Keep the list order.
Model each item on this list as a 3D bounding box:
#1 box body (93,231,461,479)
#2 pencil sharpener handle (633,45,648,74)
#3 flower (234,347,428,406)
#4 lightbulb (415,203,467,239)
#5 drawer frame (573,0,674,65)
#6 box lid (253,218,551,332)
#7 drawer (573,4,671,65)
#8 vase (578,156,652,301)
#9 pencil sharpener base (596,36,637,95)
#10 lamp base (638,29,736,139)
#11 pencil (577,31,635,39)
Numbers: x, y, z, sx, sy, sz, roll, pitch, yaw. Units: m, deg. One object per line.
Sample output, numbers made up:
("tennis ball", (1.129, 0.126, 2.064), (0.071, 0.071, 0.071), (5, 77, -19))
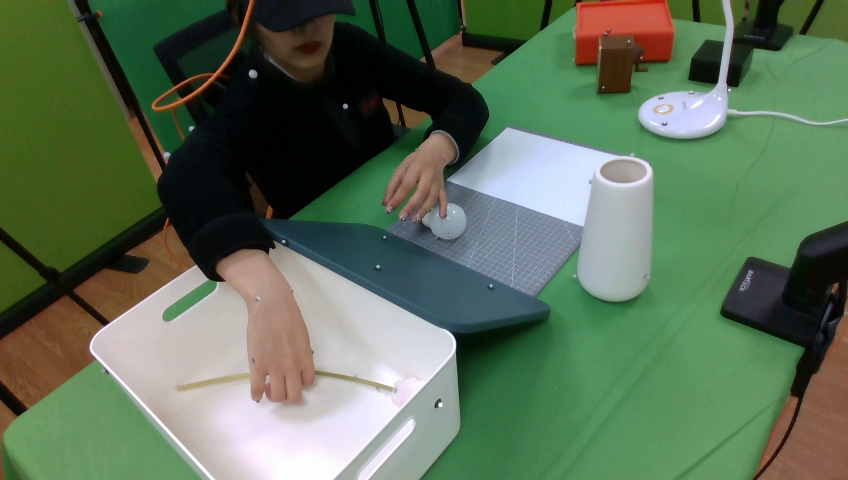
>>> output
("box body", (-0.162, 0.170, 0.708), (0.361, 0.161, 0.255), (25, 50, 34))
("pencil sharpener handle", (0.454, -0.378, 1.262), (0.030, 0.068, 0.036), (1, 47, 13))
("flower", (-0.144, 0.171, 0.801), (0.359, 0.044, 0.038), (7, 32, 24))
("lightbulb", (0.024, -0.034, 0.998), (0.060, 0.060, 0.107), (-38, 33, -30))
("drawer frame", (0.464, -0.492, 1.434), (0.213, 0.083, 0.201), (1, 40, 12))
("box lid", (-0.031, 0.037, 0.833), (0.368, 0.015, 0.265), (24, 12, 33))
("drawer", (0.461, -0.490, 1.434), (0.211, 0.073, 0.194), (2, 40, 12))
("vase", (0.261, -0.011, 0.812), (0.098, 0.201, 0.097), (-4, 40, 4))
("pencil sharpener base", (0.406, -0.369, 1.280), (0.076, 0.107, 0.061), (1, 41, 13))
("lamp base", (0.501, -0.302, 1.125), (0.179, 0.181, 0.160), (-4, 40, 3))
("pencil", (0.431, -0.489, 1.443), (0.012, 0.012, 0.192), (-25, 30, -18))
